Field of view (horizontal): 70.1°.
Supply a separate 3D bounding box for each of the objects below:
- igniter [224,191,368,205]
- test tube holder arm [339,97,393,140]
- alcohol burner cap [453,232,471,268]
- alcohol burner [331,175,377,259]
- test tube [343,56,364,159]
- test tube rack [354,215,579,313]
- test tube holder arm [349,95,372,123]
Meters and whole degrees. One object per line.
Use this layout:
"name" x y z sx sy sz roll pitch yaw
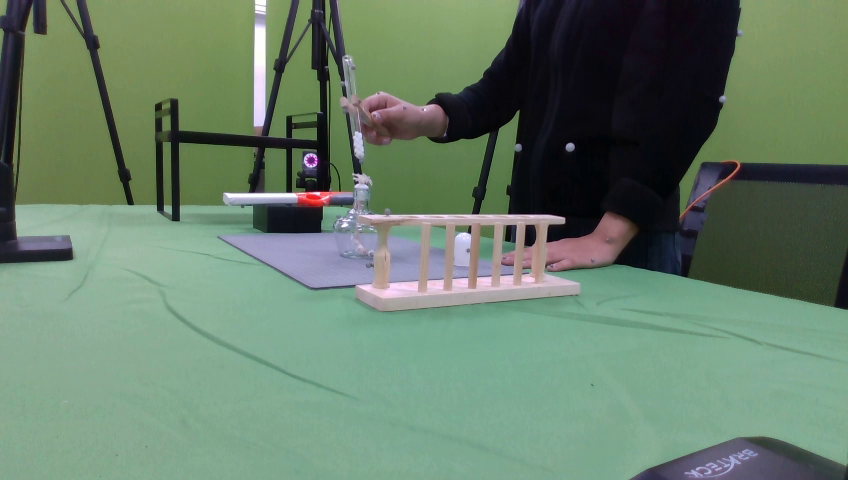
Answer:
"igniter" -0.237 -0.079 1.157 0.278 0.025 0.057 -2 21 -31
"test tube holder arm" -0.084 -0.182 0.917 0.013 0.015 0.179 -9 -8 16
"alcohol burner cap" 0.053 0.013 0.823 0.034 0.048 0.034 2 6 0
"alcohol burner" -0.091 -0.033 0.855 0.078 0.119 0.078 4 7 0
"test tube" -0.100 -0.187 0.851 0.017 0.150 0.017 -7 -8 -1
"test tube rack" 0.053 0.019 0.635 0.243 0.085 0.066 -1 8 -29
"test tube holder arm" -0.090 -0.188 0.873 0.010 0.015 0.088 -8 -8 9
